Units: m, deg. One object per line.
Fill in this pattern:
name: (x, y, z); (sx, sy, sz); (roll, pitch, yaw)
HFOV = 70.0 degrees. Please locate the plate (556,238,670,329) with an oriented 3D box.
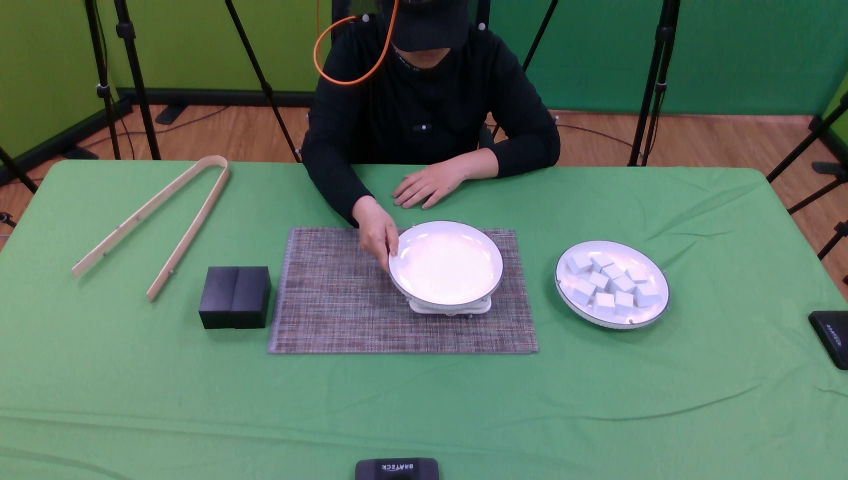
plate: (0.347, 0.083, 1.130); (0.209, 0.038, 0.208); (2, 47, -2)

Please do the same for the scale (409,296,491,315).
scale: (0.045, 0.055, 1.135); (0.149, 0.032, 0.199); (1, 46, -3)

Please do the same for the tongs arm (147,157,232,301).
tongs arm: (-0.453, -0.034, 1.193); (0.028, 0.028, 0.385); (7, 46, 6)

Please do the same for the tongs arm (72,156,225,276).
tongs arm: (-0.531, -0.057, 1.204); (0.050, 0.026, 0.383); (19, 47, 13)

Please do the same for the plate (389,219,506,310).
plate: (0.042, 0.046, 1.086); (0.208, 0.039, 0.206); (2, 46, -1)
